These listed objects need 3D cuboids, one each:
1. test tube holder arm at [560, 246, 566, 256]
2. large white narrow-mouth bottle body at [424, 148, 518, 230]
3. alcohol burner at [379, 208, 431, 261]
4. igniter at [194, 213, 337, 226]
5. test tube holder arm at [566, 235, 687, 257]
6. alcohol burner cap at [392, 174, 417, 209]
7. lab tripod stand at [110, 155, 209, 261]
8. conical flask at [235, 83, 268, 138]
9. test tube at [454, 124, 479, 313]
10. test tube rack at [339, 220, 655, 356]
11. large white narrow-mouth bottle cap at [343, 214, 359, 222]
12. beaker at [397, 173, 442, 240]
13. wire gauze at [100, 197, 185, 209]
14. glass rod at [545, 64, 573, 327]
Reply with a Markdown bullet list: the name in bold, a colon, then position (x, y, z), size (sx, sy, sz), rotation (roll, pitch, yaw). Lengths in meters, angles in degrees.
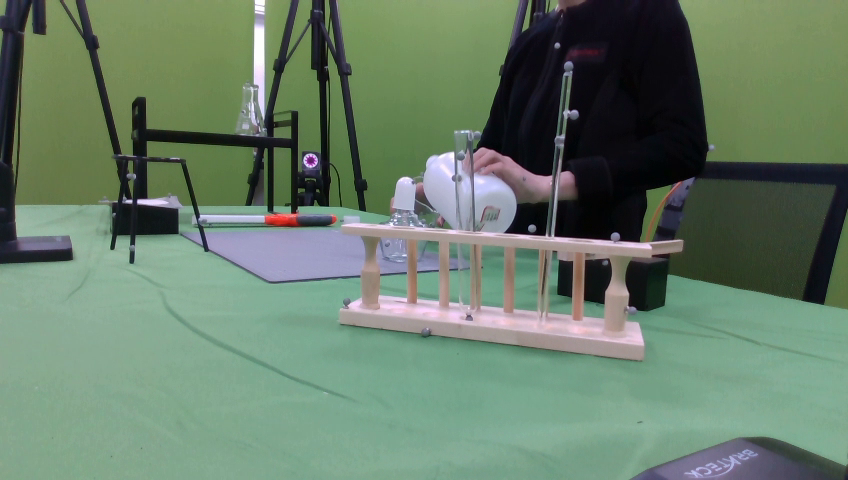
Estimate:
- **test tube holder arm**: position (0.173, 0.007, 0.612), size (0.088, 0.015, 0.010), rotation (-3, 9, -29)
- **large white narrow-mouth bottle body**: position (0.057, -0.086, 0.930), size (0.102, 0.101, 0.193), rotation (-2, 33, -27)
- **alcohol burner**: position (-0.027, -0.031, 0.838), size (0.078, 0.119, 0.078), rotation (0, 6, 0)
- **igniter**: position (-0.306, -0.041, 1.197), size (0.278, 0.025, 0.057), rotation (-2, -2, -30)
- **test tube holder arm**: position (0.215, 0.006, 0.630), size (0.179, 0.015, 0.013), rotation (-3, 9, -31)
- **alcohol burner cap**: position (-0.025, -0.067, 0.834), size (0.034, 0.048, 0.034), rotation (8, 7, -1)
- **lab tripod stand**: position (-0.361, -0.046, 0.806), size (0.148, 0.131, 0.148), rotation (2, 5, 0)
- **conical flask**: position (-0.402, -0.299, 1.406), size (0.075, 0.122, 0.075), rotation (2, 7, 0)
- **test tube**: position (0.034, -0.015, 0.477), size (0.017, 0.150, 0.017), rotation (-2, 9, 1)
- **test tube rack**: position (0.056, 0.032, 0.495), size (0.242, 0.085, 0.067), rotation (4, 7, 15)
- **large white narrow-mouth bottle cap**: position (-0.155, -0.043, 1.282), size (0.038, 0.024, 0.037), rotation (2, 8, 0)
- **beaker**: position (-0.003, -0.053, 1.055), size (0.074, 0.100, 0.083), rotation (-5, 51, -25)
- **wire gauze**: position (-0.469, -0.062, 1.008), size (0.126, 0.011, 0.121), rotation (-2, 8, -25)
- **glass rod**: position (0.101, -0.028, 0.453), size (0.008, 0.199, 0.008), rotation (1, 14, 0)
